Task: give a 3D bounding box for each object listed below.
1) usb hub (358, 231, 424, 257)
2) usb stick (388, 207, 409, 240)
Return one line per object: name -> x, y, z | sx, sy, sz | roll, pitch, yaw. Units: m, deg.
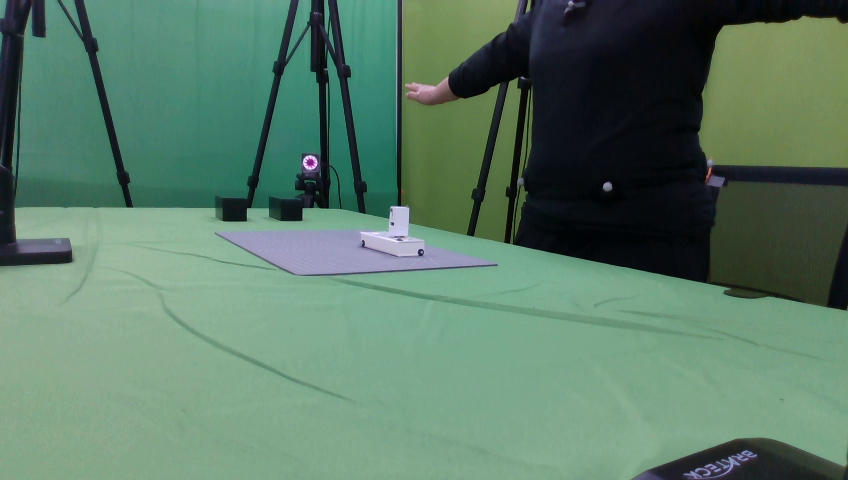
usb hub -> -0.054, 0.005, 0.947 | 0.050, 0.025, 0.124 | -3, 9, -34
usb stick -> -0.040, -0.021, 0.931 | 0.027, 0.059, 0.021 | -5, 11, -37
